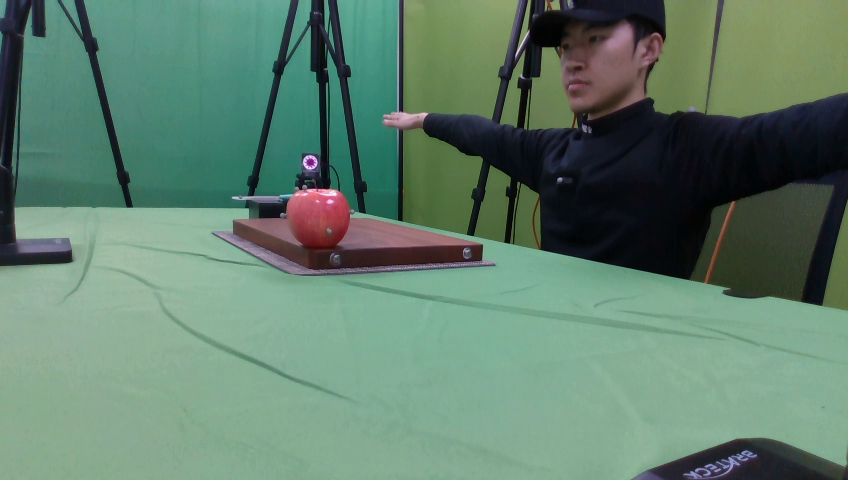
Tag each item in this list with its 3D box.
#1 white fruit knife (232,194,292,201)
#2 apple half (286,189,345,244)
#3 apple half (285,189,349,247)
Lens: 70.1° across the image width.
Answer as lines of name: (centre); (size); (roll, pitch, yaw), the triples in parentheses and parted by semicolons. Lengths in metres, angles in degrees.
white fruit knife: (-0.299, -0.089, 1.283); (0.208, 0.016, 0.027); (-2, -15, -17)
apple half: (-0.146, -0.033, 0.801); (0.081, 0.081, 0.032); (0, 11, -22)
apple half: (-0.132, -0.026, 0.765); (0.081, 0.074, 0.053); (2, 10, -22)
